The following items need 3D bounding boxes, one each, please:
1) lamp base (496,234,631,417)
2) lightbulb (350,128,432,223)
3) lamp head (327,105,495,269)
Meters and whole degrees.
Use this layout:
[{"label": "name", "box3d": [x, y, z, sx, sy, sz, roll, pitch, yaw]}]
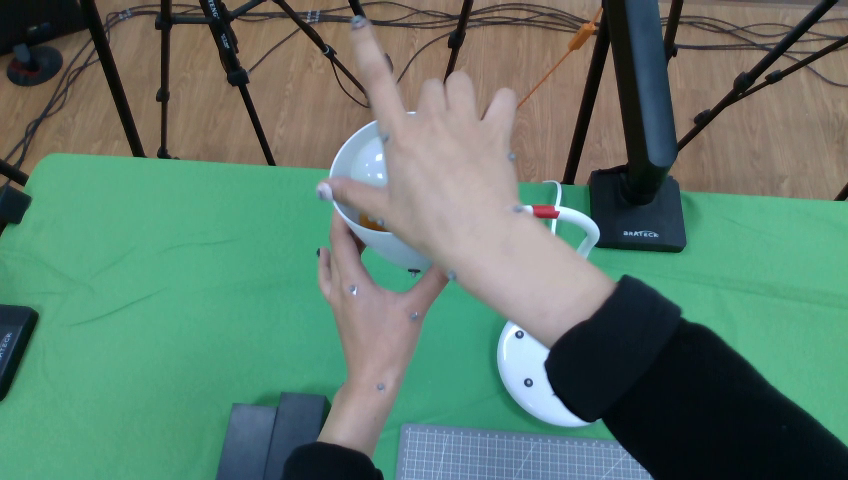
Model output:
[{"label": "lamp base", "box3d": [0.164, 0.086, 0.670, 0.161, 0.182, 0.177, -8, 59, -3]}, {"label": "lightbulb", "box3d": [-0.018, -0.041, 0.462, 0.059, 0.109, 0.059, -7, 64, 14]}, {"label": "lamp head", "box3d": [-0.003, -0.030, 0.490, 0.112, 0.124, 0.111, -8, 60, 15]}]
